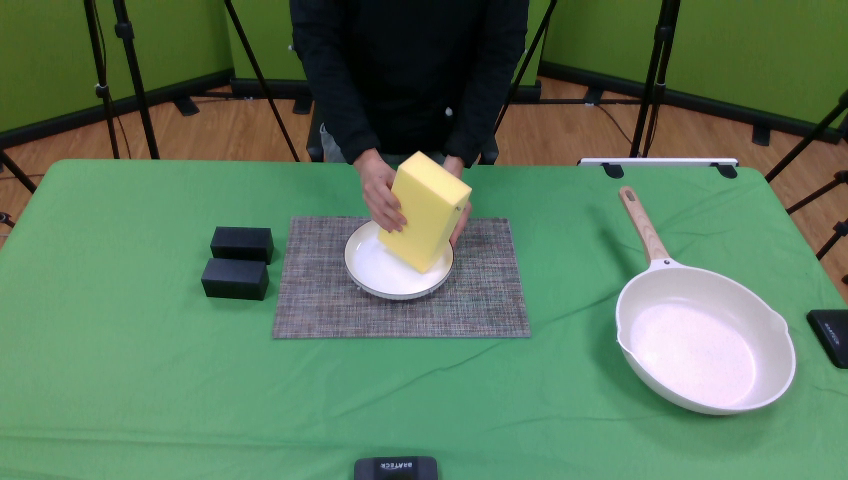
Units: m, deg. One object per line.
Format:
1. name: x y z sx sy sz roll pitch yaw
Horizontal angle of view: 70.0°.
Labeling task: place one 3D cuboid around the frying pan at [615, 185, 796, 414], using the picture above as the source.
1. frying pan: 0.450 0.087 1.092 0.307 0.103 0.484 -4 55 -10

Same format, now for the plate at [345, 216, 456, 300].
1. plate: -0.045 0.035 1.146 0.208 0.039 0.206 2 46 -2

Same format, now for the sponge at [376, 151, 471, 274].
1. sponge: -0.007 -0.045 1.088 0.118 0.207 0.061 37 52 12
